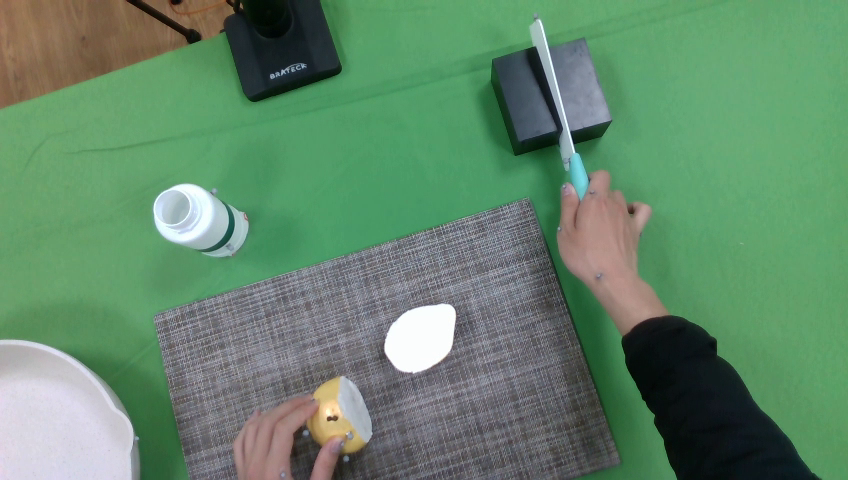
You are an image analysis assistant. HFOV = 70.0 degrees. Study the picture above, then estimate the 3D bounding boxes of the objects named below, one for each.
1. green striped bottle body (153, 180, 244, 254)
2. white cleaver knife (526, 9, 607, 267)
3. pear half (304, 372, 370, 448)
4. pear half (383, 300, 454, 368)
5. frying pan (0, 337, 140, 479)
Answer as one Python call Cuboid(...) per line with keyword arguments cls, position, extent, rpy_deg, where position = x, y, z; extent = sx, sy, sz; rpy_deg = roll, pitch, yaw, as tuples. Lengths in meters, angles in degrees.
Cuboid(cls="green striped bottle body", position=(-0.243, -0.025, 0.650), extent=(0.063, 0.119, 0.063), rpy_deg=(-1, 80, 4))
Cuboid(cls="white cleaver knife", position=(0.155, -0.109, 0.665), extent=(0.021, 0.066, 0.286), rpy_deg=(-14, 93, 5))
Cuboid(cls="pear half", position=(-0.095, 0.176, 0.611), extent=(0.056, 0.110, 0.076), rpy_deg=(-30, 75, -1))
Cuboid(cls="pear half", position=(-0.002, 0.103, 0.656), extent=(0.088, 0.031, 0.070), rpy_deg=(-40, 64, -15))
Cuboid(cls="frying pan", position=(-0.399, 0.340, 0.608), extent=(0.307, 0.103, 0.484), rpy_deg=(-22, 72, 0))
